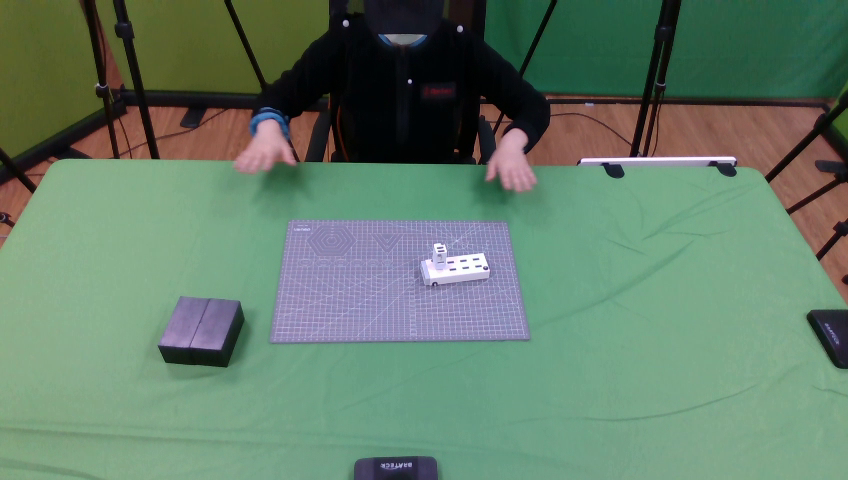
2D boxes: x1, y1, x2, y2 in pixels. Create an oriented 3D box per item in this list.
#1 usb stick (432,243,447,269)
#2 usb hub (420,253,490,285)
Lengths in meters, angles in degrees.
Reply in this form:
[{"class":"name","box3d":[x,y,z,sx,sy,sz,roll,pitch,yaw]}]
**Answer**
[{"class":"usb stick","box3d":[0.028,0.034,1.116,0.021,0.059,0.027,-8,50,-11]},{"class":"usb hub","box3d":[0.059,0.055,1.142,0.125,0.025,0.049,-7,47,-10]}]
